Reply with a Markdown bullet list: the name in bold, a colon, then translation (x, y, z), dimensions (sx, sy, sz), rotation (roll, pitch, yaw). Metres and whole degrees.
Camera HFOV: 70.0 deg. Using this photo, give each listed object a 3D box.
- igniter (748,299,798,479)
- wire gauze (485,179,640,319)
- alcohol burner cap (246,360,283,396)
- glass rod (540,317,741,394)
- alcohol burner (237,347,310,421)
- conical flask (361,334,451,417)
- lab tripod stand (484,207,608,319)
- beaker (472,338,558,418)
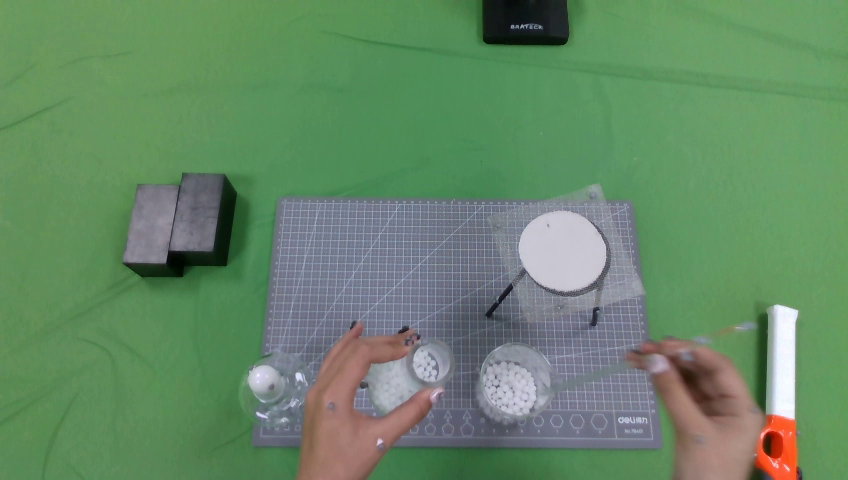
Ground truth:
- **igniter**: translation (0.386, 0.199, 0.668), dimensions (0.057, 0.025, 0.275), rotation (16, 70, -6)
- **wire gauze**: translation (0.137, 0.008, 0.604), dimensions (0.125, 0.011, 0.120), rotation (-15, 72, -5)
- **alcohol burner cap**: translation (-0.158, 0.134, 0.596), dimensions (0.034, 0.048, 0.033), rotation (2, 68, -5)
- **glass rod**: translation (0.161, 0.097, 0.485), dimensions (0.008, 0.200, 0.008), rotation (18, 55, -28)
- **alcohol burner**: translation (-0.160, 0.147, 0.630), dimensions (0.078, 0.120, 0.077), rotation (1, 71, -2)
- **conical flask**: translation (-0.010, 0.109, 0.517), dimensions (0.075, 0.122, 0.075), rotation (4, 71, -12)
- **lab tripod stand**: translation (0.137, 0.033, 0.666), dimensions (0.148, 0.132, 0.147), rotation (0, 71, 0)
- **beaker**: translation (0.091, 0.149, 0.641), dimensions (0.084, 0.101, 0.073), rotation (-1, 70, -2)
